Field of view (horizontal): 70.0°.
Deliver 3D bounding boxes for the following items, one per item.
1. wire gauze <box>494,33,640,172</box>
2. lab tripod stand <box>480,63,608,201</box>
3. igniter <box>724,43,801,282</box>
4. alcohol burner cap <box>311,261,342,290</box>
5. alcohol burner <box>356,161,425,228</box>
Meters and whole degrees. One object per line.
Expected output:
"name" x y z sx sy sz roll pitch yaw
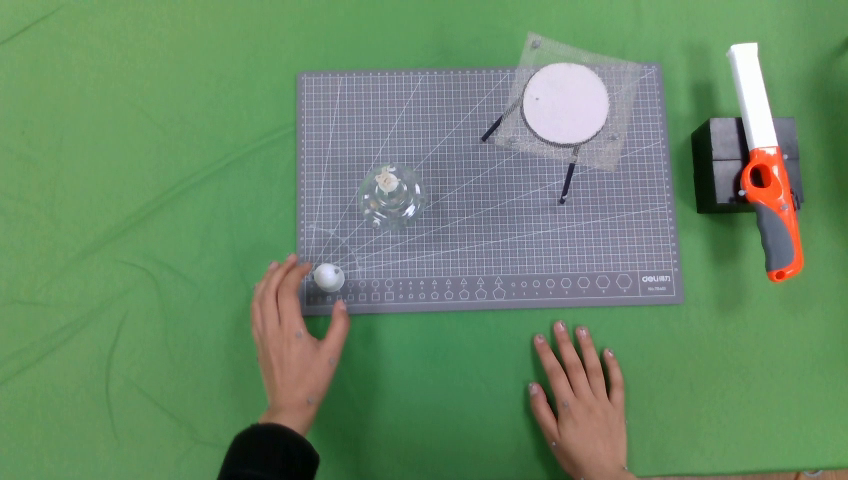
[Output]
"wire gauze" 0.144 -0.138 0.603 0.121 0.011 0.124 17 80 2
"lab tripod stand" 0.141 -0.128 0.670 0.148 0.132 0.147 0 78 0
"igniter" 0.377 -0.090 0.676 0.057 0.025 0.275 -5 78 1
"alcohol burner cap" -0.112 0.038 0.685 0.034 0.048 0.033 1 79 -3
"alcohol burner" -0.038 -0.053 0.665 0.078 0.119 0.077 0 82 0
